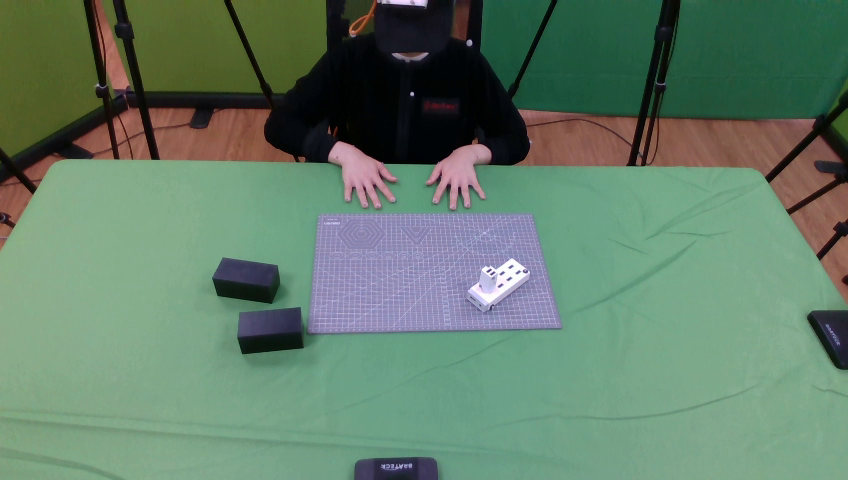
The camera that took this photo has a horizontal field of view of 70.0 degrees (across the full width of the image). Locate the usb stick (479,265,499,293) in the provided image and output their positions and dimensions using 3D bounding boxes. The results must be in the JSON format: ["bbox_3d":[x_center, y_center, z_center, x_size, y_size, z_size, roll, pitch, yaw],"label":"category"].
[{"bbox_3d":[0.115,0.074,1.084,0.021,0.059,0.027,-34,60,-31],"label":"usb stick"}]

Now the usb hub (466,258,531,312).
[{"bbox_3d":[0.139,0.083,1.121,0.125,0.025,0.049,-32,56,-30],"label":"usb hub"}]
